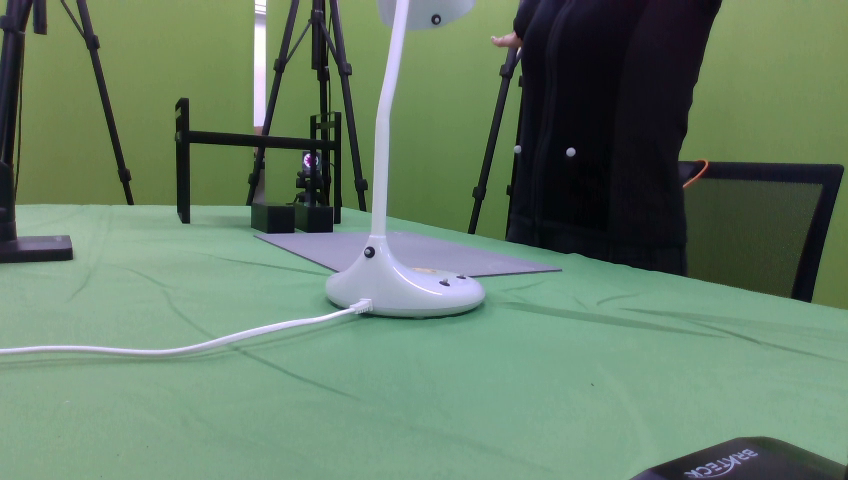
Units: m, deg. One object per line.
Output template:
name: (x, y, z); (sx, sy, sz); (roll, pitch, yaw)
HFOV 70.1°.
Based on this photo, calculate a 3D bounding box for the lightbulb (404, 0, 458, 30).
lightbulb: (0.001, -0.283, 0.659); (0.059, 0.108, 0.059); (-13, 40, 11)

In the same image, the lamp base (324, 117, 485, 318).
lamp base: (-0.020, -0.025, 0.583); (0.160, 0.180, 0.179); (4, 10, 17)

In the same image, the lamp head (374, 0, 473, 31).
lamp head: (-0.009, -0.298, 0.640); (0.112, 0.123, 0.112); (-7, 49, 8)
